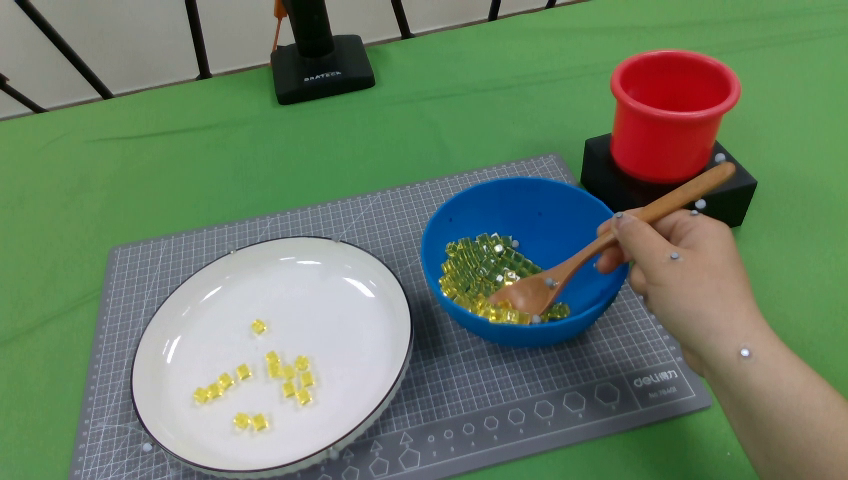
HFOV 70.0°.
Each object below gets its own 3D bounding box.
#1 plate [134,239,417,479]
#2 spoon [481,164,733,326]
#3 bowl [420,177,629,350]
[{"bbox_3d":[-0.108,0.085,0.462,0.207,0.039,0.205,-3,46,4],"label":"plate"},{"bbox_3d":[0.120,0.008,0.411,0.194,0.022,0.041,-38,35,20],"label":"spoon"},{"bbox_3d":[0.074,0.030,0.464,0.151,0.077,0.150,-3,46,4],"label":"bowl"}]
